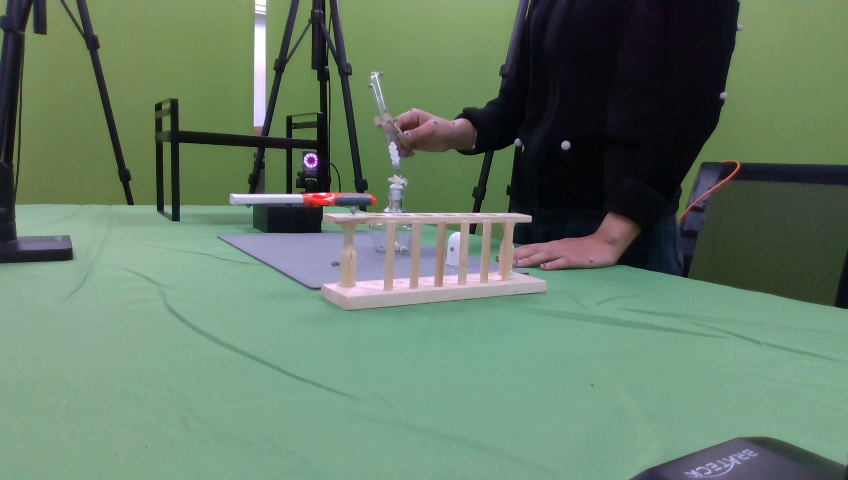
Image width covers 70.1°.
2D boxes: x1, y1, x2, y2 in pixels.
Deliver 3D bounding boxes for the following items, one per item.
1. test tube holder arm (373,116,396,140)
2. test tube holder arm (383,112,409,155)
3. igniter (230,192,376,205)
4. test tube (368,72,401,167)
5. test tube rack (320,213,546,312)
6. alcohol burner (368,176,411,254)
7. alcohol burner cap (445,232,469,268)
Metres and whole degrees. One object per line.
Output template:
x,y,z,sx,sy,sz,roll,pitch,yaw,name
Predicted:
-0.057,-0.172,0.932,0.010,0.015,0.088,-22,-11,14,test tube holder arm
-0.043,-0.168,0.975,0.013,0.015,0.179,-19,-10,6,test tube holder arm
-0.226,-0.079,1.161,0.278,0.025,0.057,-2,15,-28,igniter
-0.060,-0.182,0.911,0.017,0.150,0.017,-14,-7,-1,test tube
0.018,0.017,0.638,0.244,0.085,0.066,-2,9,-31,test tube rack
-0.045,-0.038,0.912,0.078,0.119,0.078,4,7,0,alcohol burner
0.046,0.013,0.829,0.034,0.048,0.034,2,8,0,alcohol burner cap
